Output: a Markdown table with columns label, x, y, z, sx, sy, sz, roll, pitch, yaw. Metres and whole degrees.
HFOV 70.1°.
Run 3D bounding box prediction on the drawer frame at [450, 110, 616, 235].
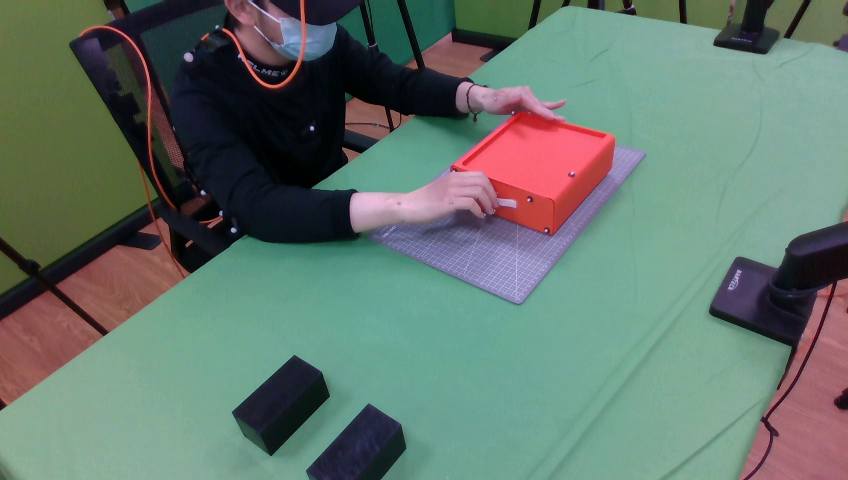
| label | x | y | z | sx | sy | sz | roll | pitch | yaw |
| --- | --- | --- | --- | --- | --- | --- | --- | --- | --- |
| drawer frame | 0.186 | -0.124 | 1.035 | 0.200 | 0.083 | 0.214 | 22 | 48 | 31 |

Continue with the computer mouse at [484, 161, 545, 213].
| label | x | y | z | sx | sy | sz | roll | pitch | yaw |
| --- | --- | --- | --- | --- | --- | --- | --- | --- | --- |
| computer mouse | 0.153 | -0.092 | 1.012 | 0.063 | 0.041 | 0.116 | -11 | 51 | -28 |

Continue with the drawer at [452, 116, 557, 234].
| label | x | y | z | sx | sy | sz | roll | pitch | yaw |
| --- | --- | --- | --- | --- | --- | --- | --- | --- | --- |
| drawer | 0.186 | -0.121 | 1.035 | 0.193 | 0.073 | 0.212 | 23 | 48 | 32 |
